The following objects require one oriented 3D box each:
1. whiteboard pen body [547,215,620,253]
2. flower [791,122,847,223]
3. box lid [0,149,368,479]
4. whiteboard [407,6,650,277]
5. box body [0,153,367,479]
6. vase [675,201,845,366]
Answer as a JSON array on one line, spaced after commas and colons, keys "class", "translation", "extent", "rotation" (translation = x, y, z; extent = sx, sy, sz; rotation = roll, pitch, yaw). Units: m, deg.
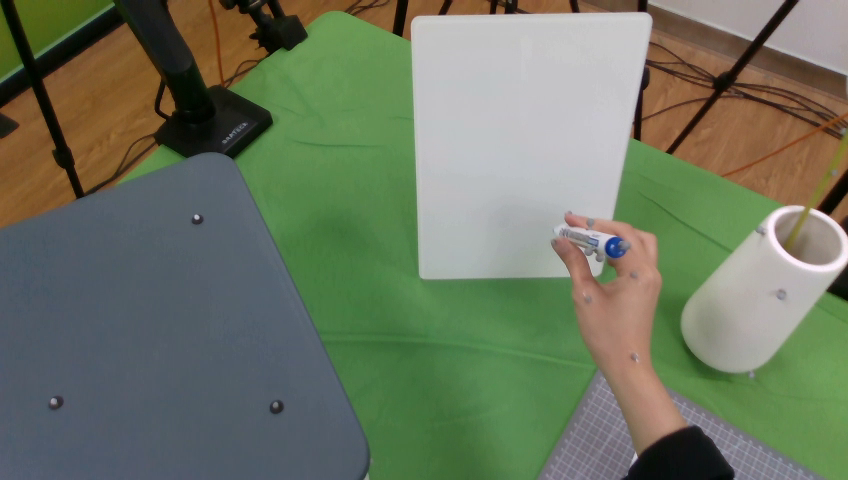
[{"class": "whiteboard pen body", "translation": [0.121, -0.008, 0.485], "extent": [0.017, 0.140, 0.017], "rotation": [-1, 99, -6]}, {"class": "flower", "translation": [0.322, -0.012, 0.533], "extent": [0.044, 0.364, 0.038], "rotation": [23, 43, 18]}, {"class": "box lid", "translation": [-0.233, 0.085, 0.501], "extent": [0.263, 0.015, 0.367], "rotation": [-24, 60, -16]}, {"class": "whiteboard", "translation": [0.096, -0.121, 0.677], "extent": [0.217, 0.308, 0.142], "rotation": [0, 38, 0]}, {"class": "box body", "translation": [-0.232, 0.127, 0.563], "extent": [0.254, 0.162, 0.360], "rotation": [-25, 60, -15]}, {"class": "vase", "translation": [0.322, 0.047, 0.594], "extent": [0.098, 0.202, 0.097], "rotation": [0, 55, 1]}]
